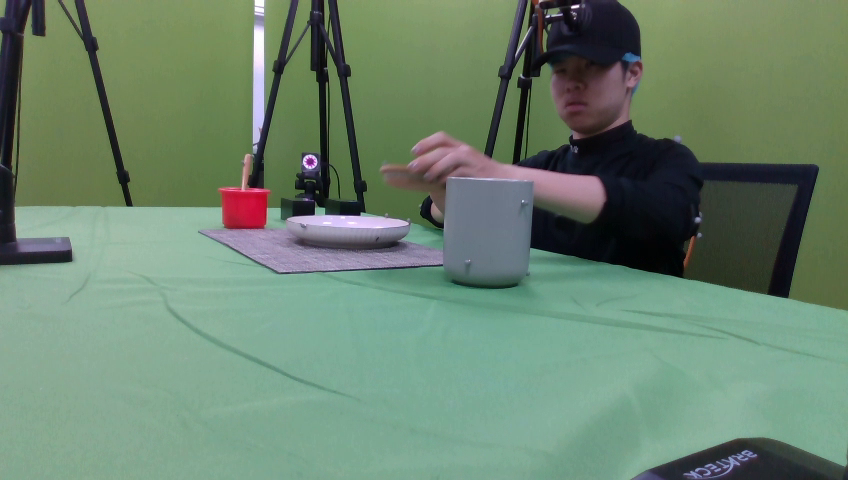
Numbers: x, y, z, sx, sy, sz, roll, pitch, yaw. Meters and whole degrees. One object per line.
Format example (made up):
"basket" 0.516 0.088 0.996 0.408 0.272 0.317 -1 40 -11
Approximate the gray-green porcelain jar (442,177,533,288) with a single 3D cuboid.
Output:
"gray-green porcelain jar" 0.075 -0.010 0.727 0.106 0.126 0.106 2 7 0

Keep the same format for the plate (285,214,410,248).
"plate" -0.127 -0.015 1.012 0.208 0.039 0.207 3 7 0

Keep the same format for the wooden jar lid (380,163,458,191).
"wooden jar lid" -0.008 -0.085 0.831 0.108 0.020 0.108 7 -4 1

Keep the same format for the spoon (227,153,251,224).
"spoon" -0.363 -0.107 1.211 0.042 0.021 0.193 -1 47 -7
